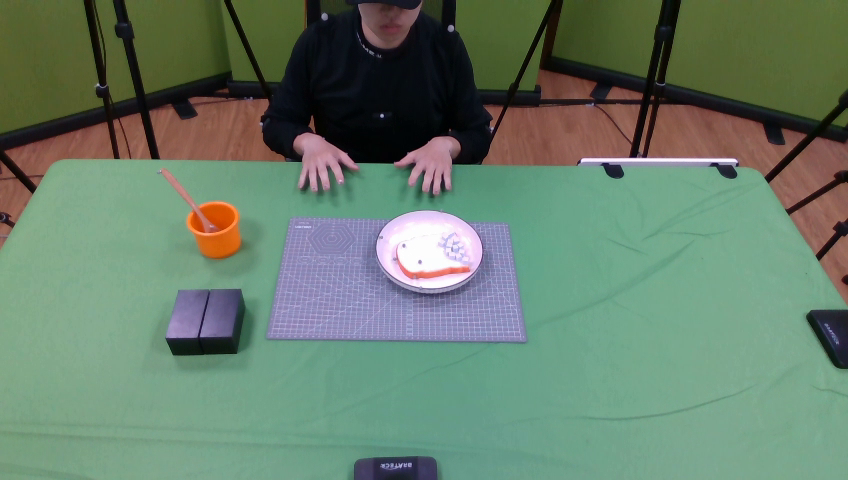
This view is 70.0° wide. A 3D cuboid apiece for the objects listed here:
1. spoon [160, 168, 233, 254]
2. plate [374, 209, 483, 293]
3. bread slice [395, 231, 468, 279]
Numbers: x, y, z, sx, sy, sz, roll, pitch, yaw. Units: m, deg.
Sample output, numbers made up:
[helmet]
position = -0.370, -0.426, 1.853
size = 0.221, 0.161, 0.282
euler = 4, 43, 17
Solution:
[spoon]
position = -0.424, -0.055, 1.130
size = 0.041, 0.194, 0.021
euler = -42, 18, -31
[plate]
position = 0.009, 0.024, 1.160
size = 0.209, 0.038, 0.208
euler = 2, 46, -2
[bread slice]
position = 0.011, 0.030, 1.158
size = 0.132, 0.019, 0.104
euler = -8, 47, -14
